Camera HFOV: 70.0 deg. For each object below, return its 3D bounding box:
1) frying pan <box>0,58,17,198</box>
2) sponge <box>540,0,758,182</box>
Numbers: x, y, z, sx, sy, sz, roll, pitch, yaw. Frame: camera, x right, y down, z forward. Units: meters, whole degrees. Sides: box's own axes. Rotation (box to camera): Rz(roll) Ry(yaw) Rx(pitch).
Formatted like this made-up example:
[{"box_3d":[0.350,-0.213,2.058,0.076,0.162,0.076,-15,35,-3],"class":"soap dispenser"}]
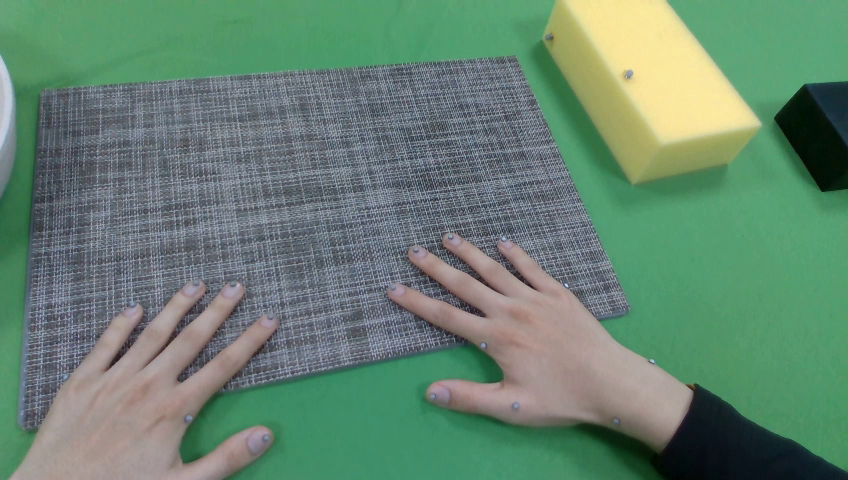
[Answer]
[{"box_3d":[-0.466,0.017,0.362,0.307,0.103,0.484,16,50,1],"class":"frying pan"},{"box_3d":[0.219,-0.166,0.614,0.118,0.061,0.205,-14,63,-18],"class":"sponge"}]
